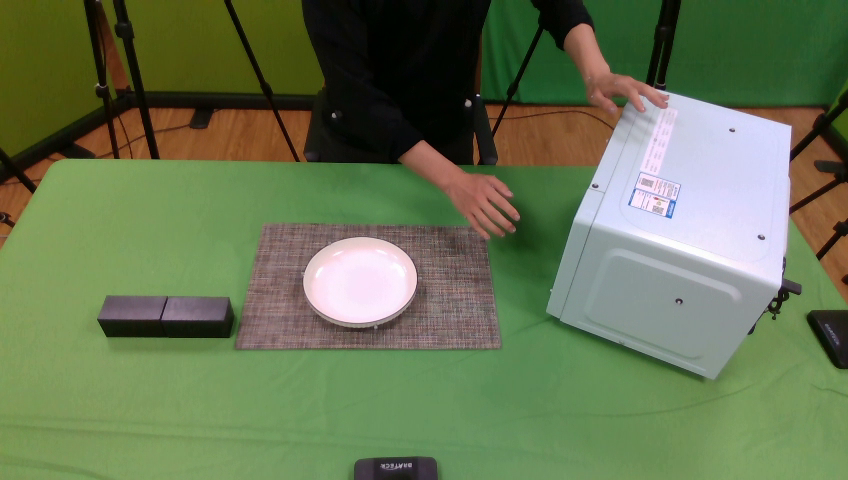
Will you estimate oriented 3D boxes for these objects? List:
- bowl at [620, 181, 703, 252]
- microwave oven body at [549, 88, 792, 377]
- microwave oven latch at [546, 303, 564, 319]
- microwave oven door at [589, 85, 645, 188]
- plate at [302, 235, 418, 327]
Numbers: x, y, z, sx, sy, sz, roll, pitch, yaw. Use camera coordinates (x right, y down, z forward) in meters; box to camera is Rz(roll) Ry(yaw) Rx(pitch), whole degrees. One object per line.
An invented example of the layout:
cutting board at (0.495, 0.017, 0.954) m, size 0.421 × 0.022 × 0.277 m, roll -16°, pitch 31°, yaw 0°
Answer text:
bowl at (0.433, -0.031, 1.140) m, size 0.151 × 0.077 × 0.150 m, roll 4°, pitch 49°, yaw -4°
microwave oven body at (0.456, -0.028, 1.088) m, size 0.325 × 0.261 × 0.440 m, roll 20°, pitch 47°, yaw 16°
microwave oven latch at (0.242, 0.102, 1.081) m, size 0.030 × 0.029 × 0.079 m, roll 22°, pitch 48°, yaw 17°
microwave oven door at (0.342, -0.107, 1.149) m, size 0.039 × 0.245 × 0.354 m, roll 20°, pitch 48°, yaw 15°
plate at (-0.114, 0.077, 1.098) m, size 0.208 × 0.039 × 0.206 m, roll 2°, pitch 46°, yaw -2°
